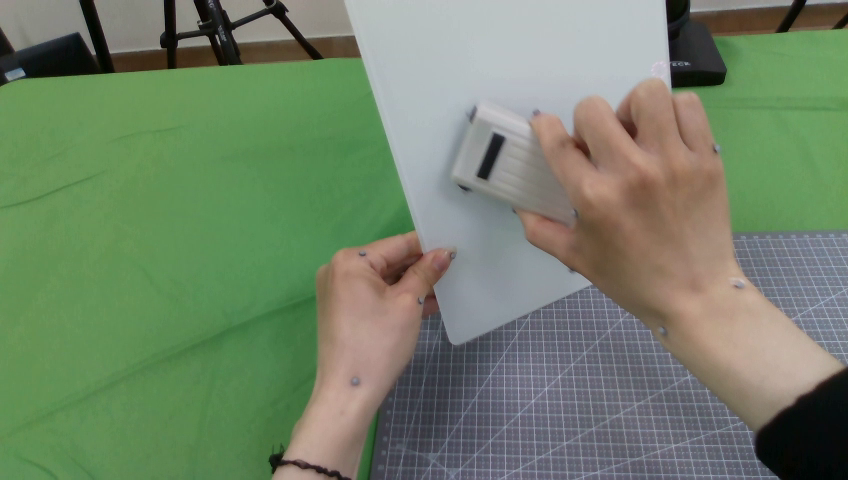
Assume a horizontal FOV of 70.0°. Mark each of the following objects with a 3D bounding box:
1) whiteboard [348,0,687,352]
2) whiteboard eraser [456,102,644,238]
[{"bbox_3d":[0.062,-0.109,0.474,0.217,0.308,0.142,-22,28,-10],"label":"whiteboard"},{"bbox_3d":[0.081,-0.046,0.399,0.113,0.056,0.041,20,27,-3],"label":"whiteboard eraser"}]
